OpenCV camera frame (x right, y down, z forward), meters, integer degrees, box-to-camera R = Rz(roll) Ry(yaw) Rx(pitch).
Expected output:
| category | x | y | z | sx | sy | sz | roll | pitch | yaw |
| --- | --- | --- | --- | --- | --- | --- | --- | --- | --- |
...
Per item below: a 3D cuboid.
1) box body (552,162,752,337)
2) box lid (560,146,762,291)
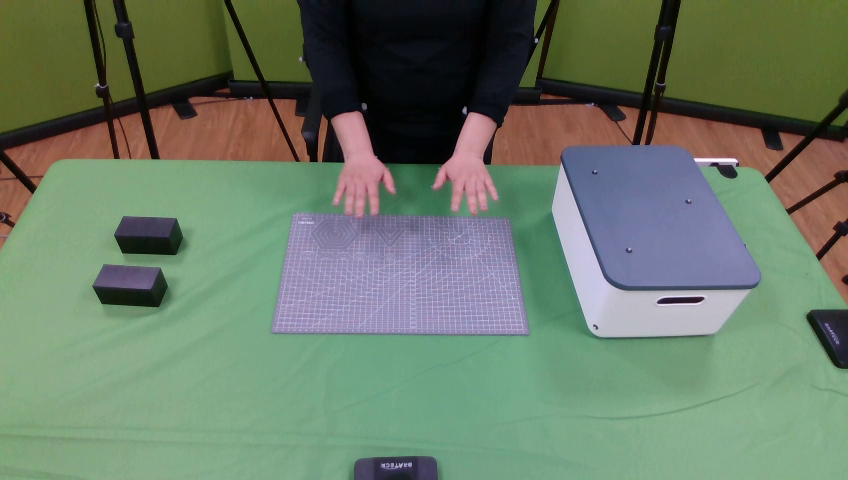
| category | x | y | z | sx | sy | sz | roll | pitch | yaw |
| --- | --- | --- | --- | --- | --- | --- | --- | --- | --- |
| box body | 0.401 | -0.001 | 1.131 | 0.254 | 0.161 | 0.361 | -1 | 46 | -5 |
| box lid | 0.404 | -0.052 | 1.076 | 0.263 | 0.015 | 0.369 | -1 | 45 | -5 |
